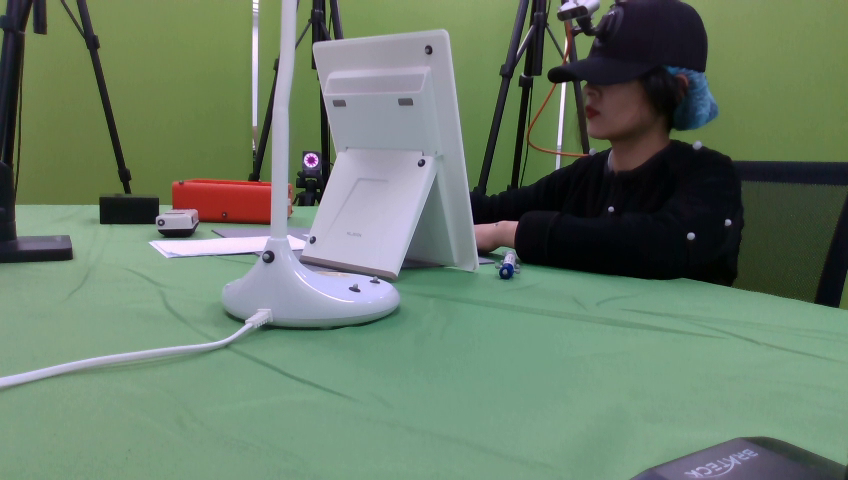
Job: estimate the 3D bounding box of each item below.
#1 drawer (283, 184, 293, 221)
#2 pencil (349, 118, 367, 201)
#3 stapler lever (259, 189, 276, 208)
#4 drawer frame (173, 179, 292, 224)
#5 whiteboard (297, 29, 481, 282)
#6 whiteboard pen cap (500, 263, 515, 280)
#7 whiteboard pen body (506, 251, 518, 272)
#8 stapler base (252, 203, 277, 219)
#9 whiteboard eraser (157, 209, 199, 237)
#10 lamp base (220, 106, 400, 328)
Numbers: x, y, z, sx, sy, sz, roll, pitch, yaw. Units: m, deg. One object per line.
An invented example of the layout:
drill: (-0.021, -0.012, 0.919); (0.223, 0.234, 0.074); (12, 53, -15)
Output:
drawer: (-0.396, -0.084, 1.301); (0.212, 0.073, 0.194); (1, 8, -7)
pencil: (-0.122, -0.153, 1.132); (0.012, 0.193, 0.012); (-11, -28, -5)
stapler lever: (-0.335, -0.090, 1.300); (0.027, 0.040, 0.118); (15, 4, -10)
drawer frame: (-0.400, -0.086, 1.300); (0.214, 0.082, 0.201); (1, 8, -8)
whiteboard: (-0.075, -0.082, 0.741); (0.216, 0.305, 0.144); (9, 29, 37)
whiteboard pen cap: (0.105, 0.038, 0.758); (0.018, 0.018, 0.033); (4, 10, 10)
whiteboard pen body: (0.117, 0.032, 0.814); (0.017, 0.017, 0.141); (4, 8, 9)
stapler base: (-0.341, -0.065, 1.301); (0.041, 0.024, 0.130); (15, 5, -10)
whiteboard eraser: (-0.411, -0.029, 1.016); (0.056, 0.042, 0.112); (2, 7, -16)
lamp base: (-0.101, -0.023, 0.531); (0.160, 0.180, 0.179); (4, 10, 10)
